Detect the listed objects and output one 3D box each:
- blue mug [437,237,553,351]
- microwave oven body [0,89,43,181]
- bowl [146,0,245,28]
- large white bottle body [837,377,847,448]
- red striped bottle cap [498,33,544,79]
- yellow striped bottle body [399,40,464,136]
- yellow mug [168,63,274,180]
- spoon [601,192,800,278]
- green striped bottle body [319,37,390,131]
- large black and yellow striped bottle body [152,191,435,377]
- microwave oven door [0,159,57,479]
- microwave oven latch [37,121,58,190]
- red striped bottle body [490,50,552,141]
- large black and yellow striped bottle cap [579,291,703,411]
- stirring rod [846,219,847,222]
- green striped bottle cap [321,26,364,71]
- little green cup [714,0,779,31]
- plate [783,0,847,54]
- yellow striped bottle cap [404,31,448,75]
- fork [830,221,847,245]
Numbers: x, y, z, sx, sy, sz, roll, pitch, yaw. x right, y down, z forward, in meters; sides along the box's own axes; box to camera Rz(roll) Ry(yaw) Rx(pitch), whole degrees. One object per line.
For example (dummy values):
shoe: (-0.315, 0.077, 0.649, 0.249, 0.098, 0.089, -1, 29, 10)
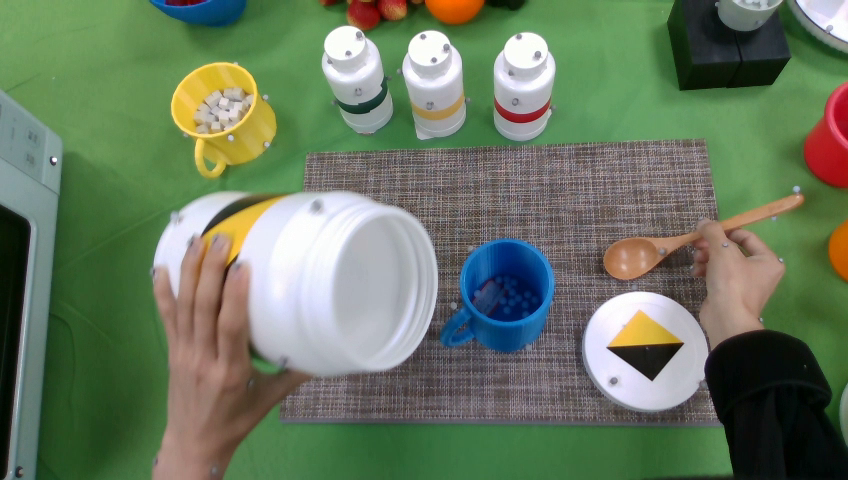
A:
blue mug: (0.062, 0.063, 0.569, 0.116, 0.106, 0.081, -33, 68, -7)
microwave oven body: (-0.579, 0.056, 0.558, 0.326, 0.262, 0.438, -10, 69, 2)
bowl: (-0.280, -0.328, 0.774, 0.151, 0.077, 0.150, -2, 69, 5)
large white bottle body: (0.429, 0.136, 0.463, 0.130, 0.186, 0.129, -2, 68, 6)
red striped bottle cap: (0.096, -0.182, 0.599, 0.044, 0.018, 0.044, -1, 68, 2)
yellow striped bottle body: (0.009, -0.170, 0.660, 0.063, 0.121, 0.062, -2, 68, 6)
yellow mug: (-0.238, -0.131, 0.701, 0.100, 0.064, 0.130, 8, 71, 9)
spoon: (0.270, -0.007, 0.598, 0.193, 0.022, 0.041, -21, 77, 17)
green striped bottle body: (-0.077, -0.178, 0.673, 0.063, 0.120, 0.062, -2, 69, 5)
large black and yellow striped bottle body: (-0.096, 0.029, 0.449, 0.183, 0.132, 0.130, 3, 67, 37)
microwave oven door: (-0.429, 0.068, 0.532, 0.039, 0.245, 0.353, -10, 68, 3)
microwave oven latch: (-0.448, -0.096, 0.706, 0.030, 0.030, 0.078, -9, 69, 2)
red striped bottle body: (0.102, -0.163, 0.648, 0.063, 0.120, 0.062, -2, 68, 6)
large black and yellow striped bottle cap: (0.209, 0.106, 0.586, 0.115, 0.019, 0.114, -2, 68, 5)
stirring rod: (0.427, 0.018, 0.535, 0.014, 0.006, 0.175, 2, 26, 4)
green striped bottle cap: (-0.084, -0.198, 0.624, 0.044, 0.020, 0.044, -1, 69, 3)
little green cup: (0.343, -0.257, 0.646, 0.061, 0.039, 0.061, -2, 67, 4)
plate: (0.513, -0.290, 0.695, 0.209, 0.038, 0.207, -2, 70, 5)
yellow striped bottle cap: (0.002, -0.189, 0.612, 0.044, 0.019, 0.044, 0, 66, 1)
fork: (0.455, 0.019, 0.523, 0.028, 0.019, 0.205, -28, 24, -13)
